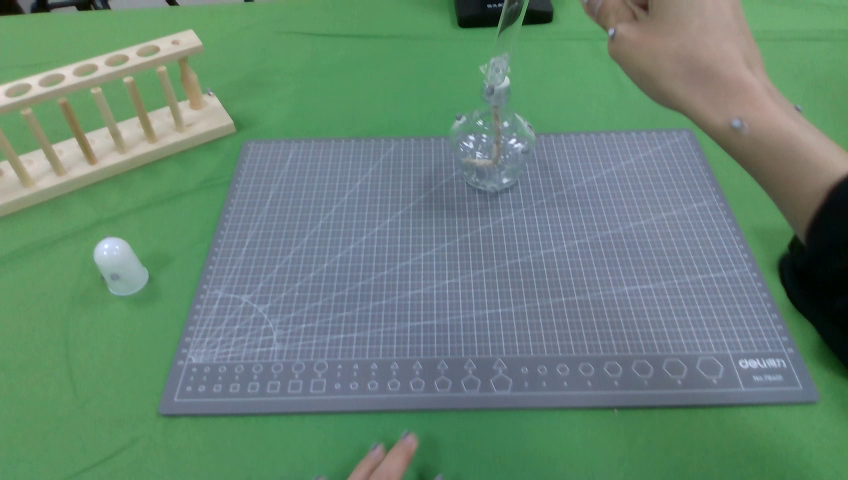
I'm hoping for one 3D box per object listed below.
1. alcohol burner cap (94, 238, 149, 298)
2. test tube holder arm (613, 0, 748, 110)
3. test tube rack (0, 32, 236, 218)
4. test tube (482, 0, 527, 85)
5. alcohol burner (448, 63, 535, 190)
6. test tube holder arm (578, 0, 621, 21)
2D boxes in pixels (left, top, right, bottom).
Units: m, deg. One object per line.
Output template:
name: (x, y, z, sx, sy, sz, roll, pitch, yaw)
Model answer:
alcohol burner cap: (-0.244, 0.020, 0.483, 0.034, 0.048, 0.033, -1, 47, 1)
test tube holder arm: (0.119, -0.139, 0.367, 0.178, 0.015, 0.013, 40, 53, 9)
test tube rack: (-0.315, -0.111, 0.575, 0.242, 0.086, 0.066, -25, 51, -20)
test tube: (0.062, -0.166, 0.390, 0.017, 0.151, 0.017, 7, 47, -7)
alcohol burner: (0.060, -0.102, 0.530, 0.078, 0.120, 0.077, 0, 48, 0)
test tube holder arm: (0.081, -0.163, 0.369, 0.087, 0.015, 0.010, 35, 52, 5)
